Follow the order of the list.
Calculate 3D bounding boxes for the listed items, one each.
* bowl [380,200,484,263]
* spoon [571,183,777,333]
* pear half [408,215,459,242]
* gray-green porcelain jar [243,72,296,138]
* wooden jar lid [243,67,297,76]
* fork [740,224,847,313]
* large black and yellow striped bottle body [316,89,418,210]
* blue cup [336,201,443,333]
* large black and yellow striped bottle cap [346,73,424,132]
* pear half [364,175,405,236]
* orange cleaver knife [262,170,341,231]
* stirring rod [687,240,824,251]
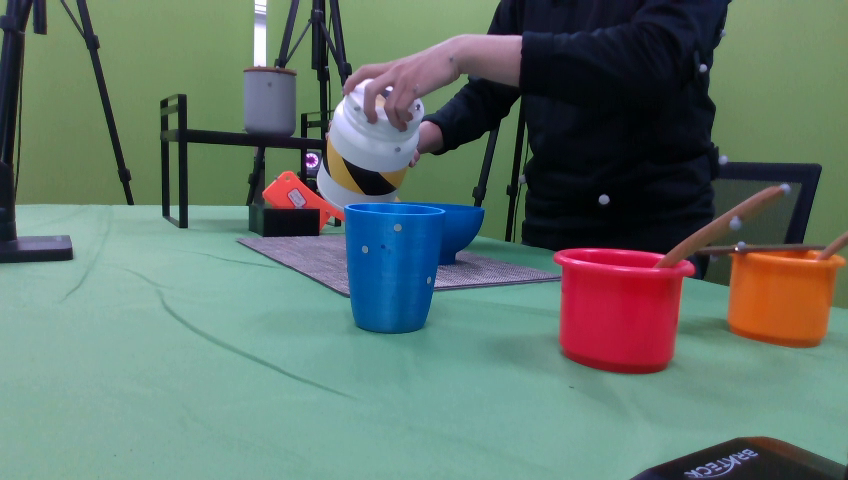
[{"bbox_3d":[0.008,-0.012,0.842,0.151,0.077,0.151,2,7,0],"label":"bowl"},{"bbox_3d":[0.161,0.020,0.413,0.042,0.021,0.193,1,-36,-24],"label":"spoon"},{"bbox_3d":[0.011,-0.019,0.848,0.070,0.031,0.088,5,12,32],"label":"pear half"},{"bbox_3d":[-0.322,-0.279,1.263,0.106,0.126,0.106,3,8,0],"label":"gray-green porcelain jar"},{"bbox_3d":[-0.319,-0.342,1.254,0.108,0.020,0.108,3,8,0],"label":"wooden jar lid"},{"bbox_3d":[0.323,0.013,0.485,0.028,0.018,0.207,8,-37,-6],"label":"fork"},{"bbox_3d":[-0.085,-0.142,0.926,0.131,0.183,0.130,13,46,-13],"label":"large black and yellow striped bottle body"},{"bbox_3d":[-0.029,0.022,0.507,0.093,0.100,0.092,3,9,0],"label":"blue cup"},{"bbox_3d":[-0.055,-0.198,0.865,0.115,0.019,0.114,15,42,-14],"label":"large black and yellow striped bottle cap"},{"bbox_3d":[-0.064,-0.061,1.077,0.055,0.110,0.077,9,14,39],"label":"pear half"},{"bbox_3d":[-0.201,-0.057,1.136,0.212,0.077,0.012,31,-3,-31],"label":"orange cleaver knife"},{"bbox_3d":[0.290,0.005,0.525,0.177,0.006,0.014,-1,6,-26],"label":"stirring rod"}]
